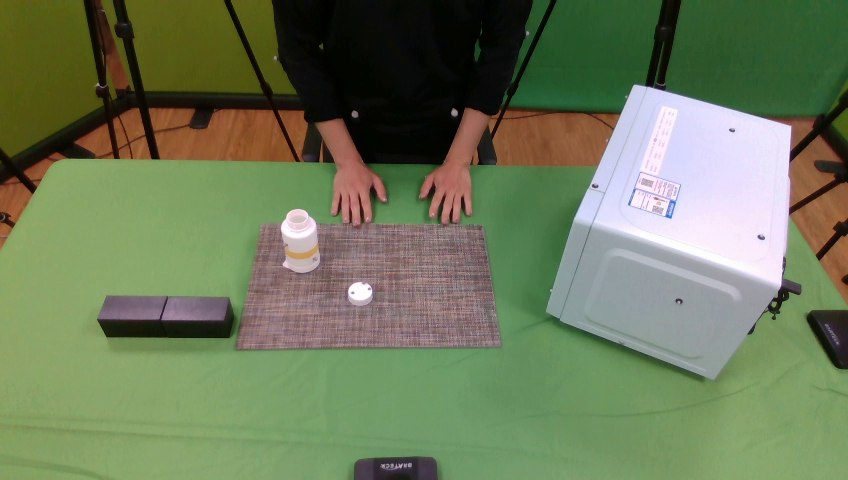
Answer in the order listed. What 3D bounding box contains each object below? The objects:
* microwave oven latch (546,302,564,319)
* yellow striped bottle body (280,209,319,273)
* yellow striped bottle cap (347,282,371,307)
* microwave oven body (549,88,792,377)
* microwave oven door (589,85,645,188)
[{"bbox_3d":[0.242,0.102,1.081,0.030,0.029,0.079,22,48,17],"label":"microwave oven latch"},{"bbox_3d":[-0.227,-0.001,1.106,0.063,0.121,0.062,2,46,-2],"label":"yellow striped bottle body"},{"bbox_3d":[-0.117,0.098,1.093,0.044,0.019,0.044,3,46,-3],"label":"yellow striped bottle cap"},{"bbox_3d":[0.456,-0.028,1.088,0.325,0.261,0.440,20,47,16],"label":"microwave oven body"},{"bbox_3d":[0.341,-0.107,1.149,0.039,0.245,0.354,20,48,15],"label":"microwave oven door"}]
